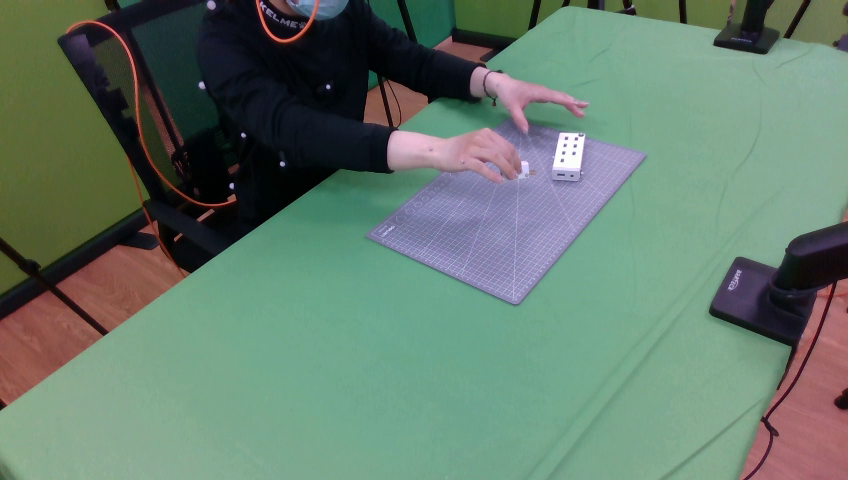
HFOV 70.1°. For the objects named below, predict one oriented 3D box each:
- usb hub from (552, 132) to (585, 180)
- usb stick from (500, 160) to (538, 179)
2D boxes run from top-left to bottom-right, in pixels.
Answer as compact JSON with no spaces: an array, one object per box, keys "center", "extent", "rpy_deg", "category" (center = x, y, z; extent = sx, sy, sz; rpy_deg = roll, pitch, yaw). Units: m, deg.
[{"center":[0.266,-0.154,1.103],"extent":[0.049,0.025,0.125],"rpy_deg":[6,43,15],"category":"usb hub"},{"center":[0.154,-0.114,0.977],"extent":[0.059,0.027,0.021],"rpy_deg":[-4,19,-5],"category":"usb stick"}]
